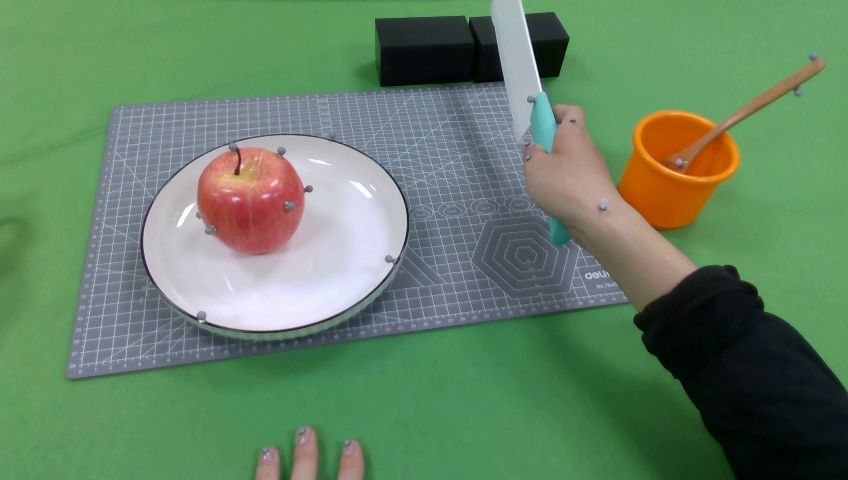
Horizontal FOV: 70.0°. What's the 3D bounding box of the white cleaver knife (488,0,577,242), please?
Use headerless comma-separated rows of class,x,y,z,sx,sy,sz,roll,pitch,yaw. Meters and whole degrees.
white cleaver knife,0.094,-0.129,0.550,0.021,0.066,0.284,0,66,-16

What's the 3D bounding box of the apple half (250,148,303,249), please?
apple half,-0.112,-0.031,0.482,0.033,0.082,0.080,0,52,1

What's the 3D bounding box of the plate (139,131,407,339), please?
plate,-0.118,-0.007,0.497,0.209,0.038,0.207,3,52,-3

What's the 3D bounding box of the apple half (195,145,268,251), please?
apple half,-0.151,-0.032,0.481,0.053,0.075,0.080,1,55,2

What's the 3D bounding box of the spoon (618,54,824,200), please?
spoon,0.259,-0.098,0.537,0.022,0.194,0.041,28,33,-42
